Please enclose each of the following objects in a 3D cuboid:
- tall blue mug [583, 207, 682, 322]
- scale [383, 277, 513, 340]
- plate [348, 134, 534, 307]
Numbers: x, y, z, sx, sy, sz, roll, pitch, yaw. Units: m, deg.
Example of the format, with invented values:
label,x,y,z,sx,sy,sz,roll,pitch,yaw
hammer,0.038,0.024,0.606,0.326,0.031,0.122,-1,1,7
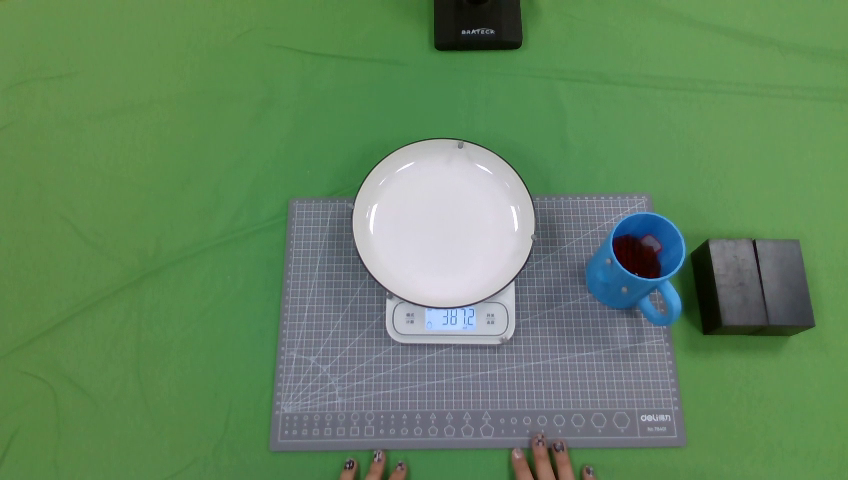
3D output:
label,x,y,z,sx,sy,sz,roll,pitch,yaw
tall blue mug,0.238,0.029,0.665,0.107,0.108,0.077,35,74,12
scale,0.029,0.016,0.712,0.149,0.032,0.199,1,71,1
plate,0.019,-0.022,0.690,0.209,0.038,0.207,0,71,0
